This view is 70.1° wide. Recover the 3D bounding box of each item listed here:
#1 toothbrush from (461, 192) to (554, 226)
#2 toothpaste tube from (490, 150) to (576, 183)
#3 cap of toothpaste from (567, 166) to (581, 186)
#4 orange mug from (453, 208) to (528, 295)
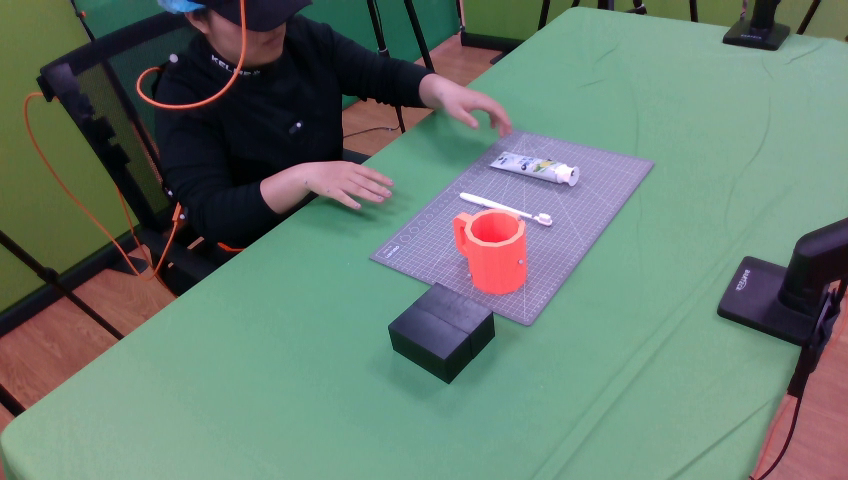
[{"bbox_3d":[0.137,-0.056,1.026,0.180,0.017,0.014,20,62,32],"label":"toothbrush"},{"bbox_3d":[0.202,-0.135,1.098,0.164,0.034,0.055,20,45,34],"label":"toothpaste tube"},{"bbox_3d":[0.260,-0.112,1.052,0.011,0.037,0.037,22,50,37],"label":"cap of toothpaste"},{"bbox_3d":[0.094,0.009,0.894,0.125,0.101,0.084,32,55,33],"label":"orange mug"}]
